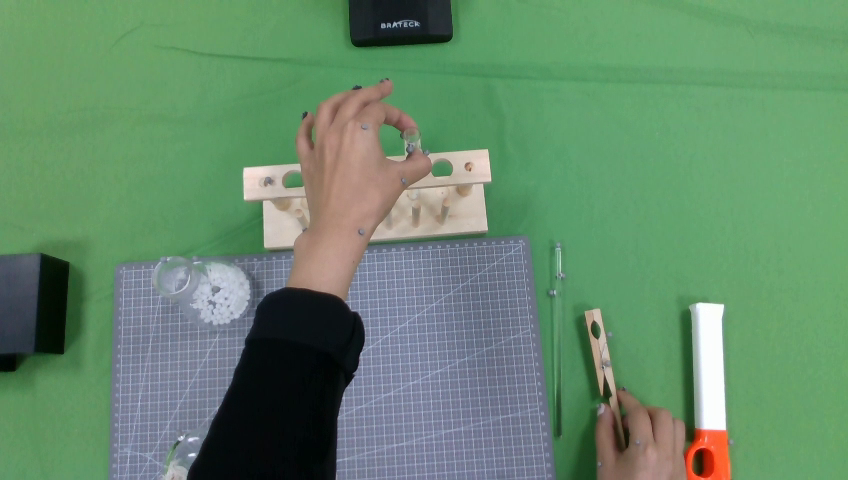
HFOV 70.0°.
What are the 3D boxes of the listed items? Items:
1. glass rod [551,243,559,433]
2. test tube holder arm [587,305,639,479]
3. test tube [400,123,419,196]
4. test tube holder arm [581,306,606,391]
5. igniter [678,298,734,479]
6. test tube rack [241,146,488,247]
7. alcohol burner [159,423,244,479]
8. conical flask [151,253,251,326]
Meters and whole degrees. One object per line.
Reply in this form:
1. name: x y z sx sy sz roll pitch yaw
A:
1. glass rod: 0.138 0.101 0.640 0.008 0.008 0.199 3 80 0
2. test tube holder arm: 0.194 0.155 0.623 0.013 0.015 0.177 -17 78 22
3. test tube: -0.013 -0.073 0.587 0.017 0.151 0.017 0 74 0
4. test tube holder arm: 0.179 0.113 0.633 0.010 0.015 0.087 -16 79 22
5. igniter: 0.284 0.197 0.612 0.057 0.025 0.275 6 78 -8
6. test tube rack: -0.057 -0.043 0.632 0.242 0.085 0.066 -5 78 -1
7. alcohol burner: -0.212 0.211 0.561 0.078 0.119 0.077 0 77 2
8. conical flask: -0.222 0.043 0.591 0.075 0.122 0.075 0 78 0
